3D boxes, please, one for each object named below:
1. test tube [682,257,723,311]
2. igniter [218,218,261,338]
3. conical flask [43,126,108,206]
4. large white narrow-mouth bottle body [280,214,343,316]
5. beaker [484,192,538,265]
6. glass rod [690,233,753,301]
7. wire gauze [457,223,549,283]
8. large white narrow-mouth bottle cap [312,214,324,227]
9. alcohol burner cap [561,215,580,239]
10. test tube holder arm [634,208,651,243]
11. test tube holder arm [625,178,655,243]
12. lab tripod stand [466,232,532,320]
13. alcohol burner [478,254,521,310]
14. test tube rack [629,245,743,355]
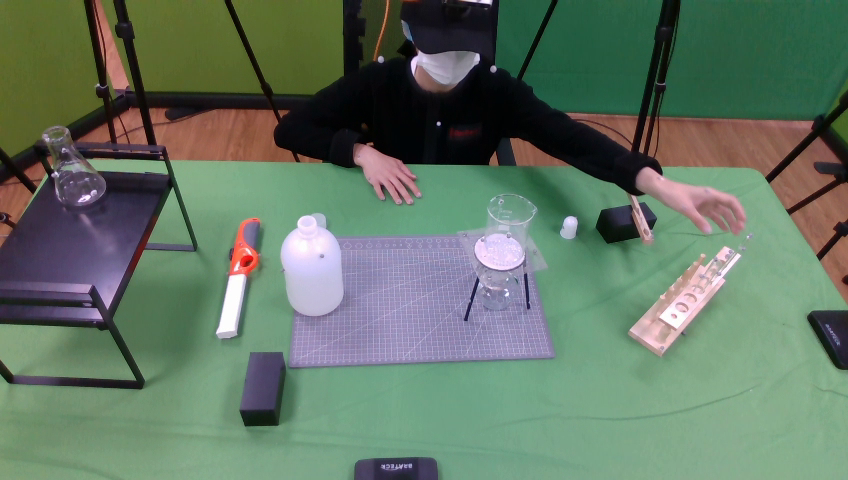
[{"bbox_3d":[0.475,0.080,1.037,0.017,0.151,0.017,1,51,-1],"label":"test tube"},{"bbox_3d":[-0.337,0.060,1.111,0.057,0.025,0.274,-7,46,4],"label":"igniter"},{"bbox_3d":[-0.555,-0.119,0.953,0.075,0.122,0.075,2,46,-2],"label":"conical flask"},{"bbox_3d":[-0.190,0.035,1.025,0.102,0.195,0.101,2,46,-2],"label":"large white narrow-mouth bottle body"},{"bbox_3d":[0.137,-0.016,0.980,0.084,0.101,0.073,-6,45,-9],"label":"beaker"},{"bbox_3d":[0.507,0.053,1.041,0.008,0.200,0.008,5,51,-6],"label":"glass rod"},{"bbox_3d":[0.131,0.016,1.017,0.121,0.011,0.124,-10,44,-15],"label":"wire gauze"},{"bbox_3d":[-0.219,-0.033,1.214,0.038,0.024,0.037,2,46,-2],"label":"large white narrow-mouth bottle cap"},{"bbox_3d":[0.299,-0.030,1.231,0.034,0.048,0.033,1,46,-1],"label":"alcohol burner cap"},{"bbox_3d":[0.428,-0.030,1.189,0.010,0.015,0.087,2,47,-2],"label":"test tube holder arm"},{"bbox_3d":[0.433,-0.062,1.220,0.013,0.015,0.177,1,47,-3],"label":"test tube holder arm"},{"bbox_3d":[0.125,0.060,1.065,0.148,0.132,0.147,1,45,0],"label":"lab tripod stand"},{"bbox_3d":[0.134,0.068,1.071,0.078,0.120,0.077,0,47,0],"label":"alcohol burner"},{"bbox_3d":[0.474,0.095,1.091,0.242,0.085,0.066,-34,56,-31],"label":"test tube rack"}]
